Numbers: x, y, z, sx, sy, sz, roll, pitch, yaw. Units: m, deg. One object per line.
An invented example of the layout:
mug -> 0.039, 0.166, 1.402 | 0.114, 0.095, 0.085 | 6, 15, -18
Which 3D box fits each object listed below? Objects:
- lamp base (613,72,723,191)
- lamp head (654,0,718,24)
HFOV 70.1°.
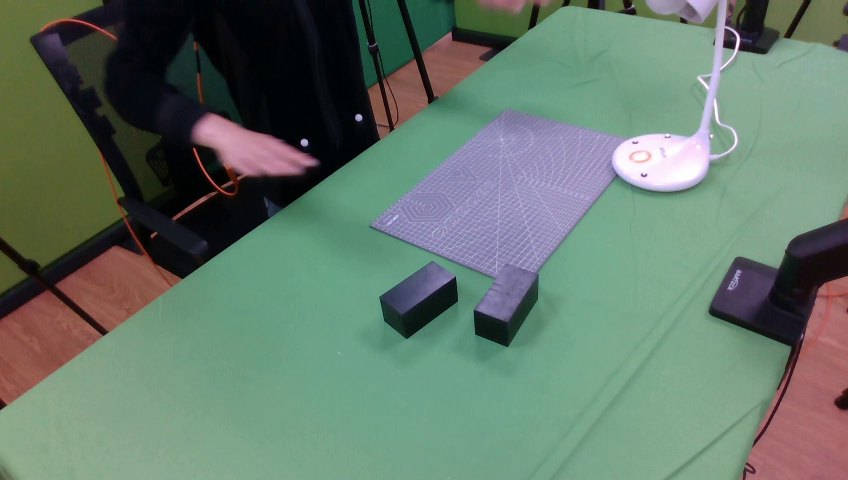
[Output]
lamp base -> 0.423, -0.198, 1.020 | 0.179, 0.181, 0.159 | -6, 42, -3
lamp head -> 0.356, -0.361, 0.788 | 0.123, 0.113, 0.111 | -51, 42, 13
